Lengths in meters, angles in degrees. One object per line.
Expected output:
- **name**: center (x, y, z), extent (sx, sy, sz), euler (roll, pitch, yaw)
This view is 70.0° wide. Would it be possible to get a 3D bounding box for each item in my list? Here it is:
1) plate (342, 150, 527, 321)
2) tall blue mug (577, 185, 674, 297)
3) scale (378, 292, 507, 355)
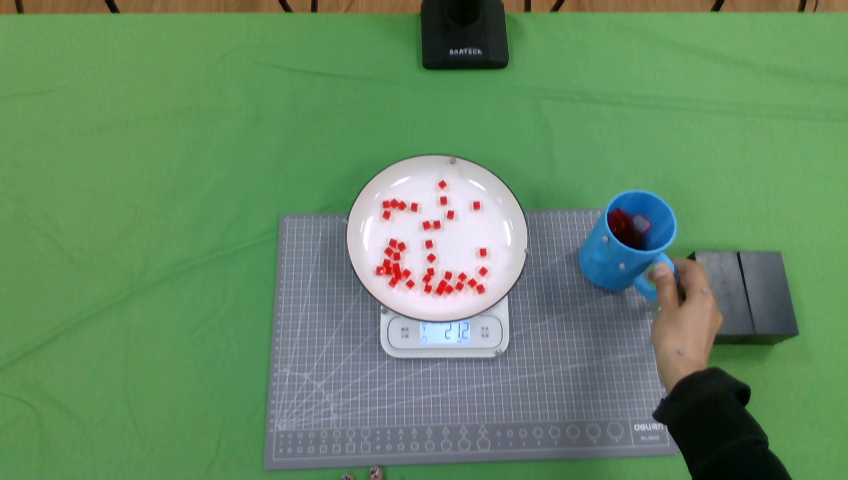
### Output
- **plate**: center (0.012, -0.004, 0.695), extent (0.209, 0.038, 0.207), euler (1, 69, -3)
- **tall blue mug**: center (0.237, 0.006, 0.686), extent (0.107, 0.108, 0.077), euler (29, 68, 11)
- **scale**: center (0.021, 0.034, 0.717), extent (0.149, 0.032, 0.199), euler (0, 69, -2)
